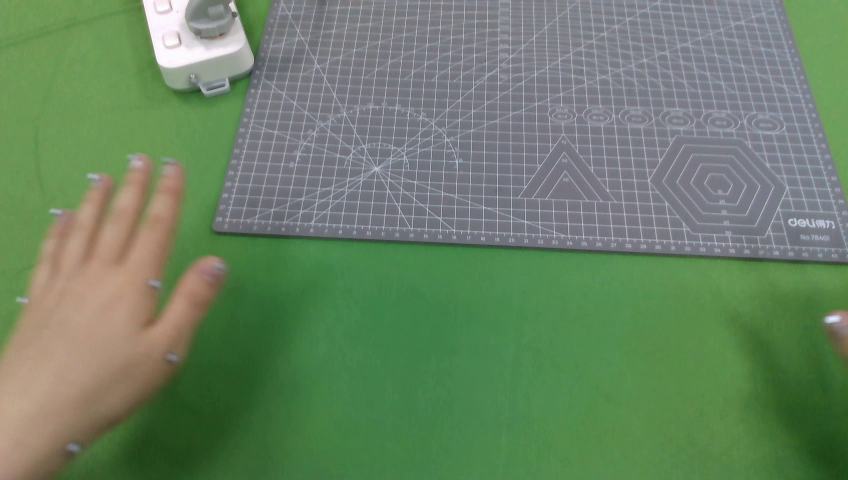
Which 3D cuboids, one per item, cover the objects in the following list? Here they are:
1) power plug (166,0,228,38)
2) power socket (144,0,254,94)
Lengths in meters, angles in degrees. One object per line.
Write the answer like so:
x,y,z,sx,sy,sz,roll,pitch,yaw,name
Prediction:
-0.187,-0.184,0.476,0.072,0.035,0.052,2,65,26,power plug
-0.204,-0.218,0.520,0.072,0.033,0.224,-18,63,-11,power socket
